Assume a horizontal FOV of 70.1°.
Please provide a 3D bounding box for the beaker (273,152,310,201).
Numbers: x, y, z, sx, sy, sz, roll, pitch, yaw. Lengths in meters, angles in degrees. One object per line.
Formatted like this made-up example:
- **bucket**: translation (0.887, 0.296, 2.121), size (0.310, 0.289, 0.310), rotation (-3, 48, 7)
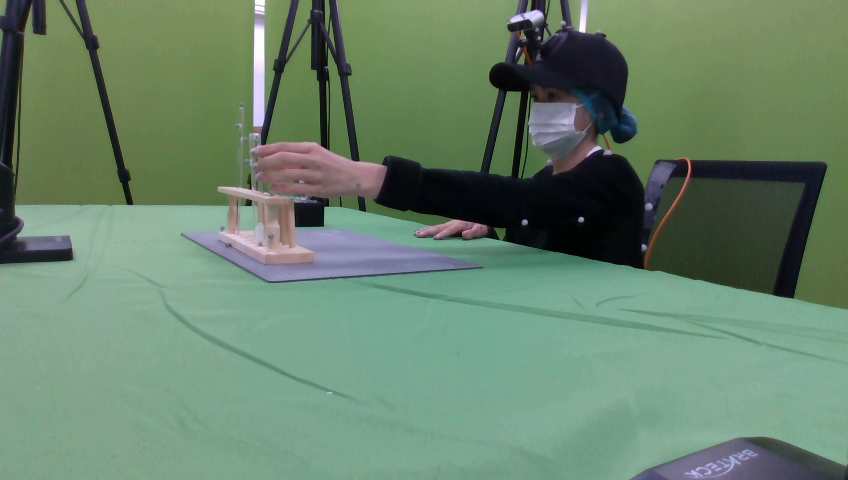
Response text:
- **beaker**: translation (-0.277, -0.131, 1.249), size (0.073, 0.100, 0.084), rotation (6, 9, 26)

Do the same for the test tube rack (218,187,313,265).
- **test tube rack**: translation (-0.235, -0.027, 0.872), size (0.067, 0.085, 0.241), rotation (-2, 8, -32)

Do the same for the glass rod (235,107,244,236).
- **glass rod**: translation (-0.282, -0.102, 0.924), size (0.008, 0.199, 0.008), rotation (2, 2, 0)

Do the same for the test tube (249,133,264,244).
- **test tube**: translation (-0.228, -0.069, 0.824), size (0.017, 0.150, 0.017), rotation (-1, 4, 0)
